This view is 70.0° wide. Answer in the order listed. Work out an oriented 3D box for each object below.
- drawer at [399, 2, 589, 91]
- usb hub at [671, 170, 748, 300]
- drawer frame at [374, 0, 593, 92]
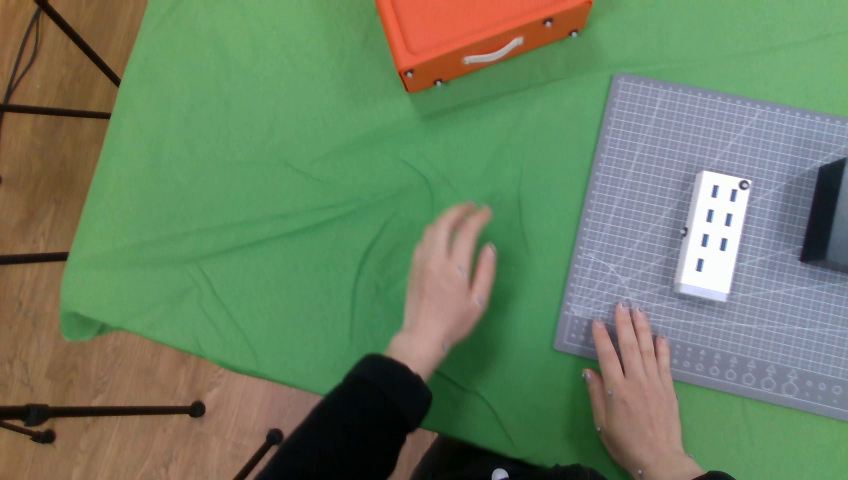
[{"bbox_3d":[0.039,-0.288,0.628,0.194,0.073,0.211,-19,84,4],"label":"drawer"},{"bbox_3d":[0.288,-0.005,0.613,0.049,0.025,0.125,12,88,6],"label":"usb hub"},{"bbox_3d":[0.038,-0.289,0.625,0.201,0.083,0.213,-20,84,4],"label":"drawer frame"}]
